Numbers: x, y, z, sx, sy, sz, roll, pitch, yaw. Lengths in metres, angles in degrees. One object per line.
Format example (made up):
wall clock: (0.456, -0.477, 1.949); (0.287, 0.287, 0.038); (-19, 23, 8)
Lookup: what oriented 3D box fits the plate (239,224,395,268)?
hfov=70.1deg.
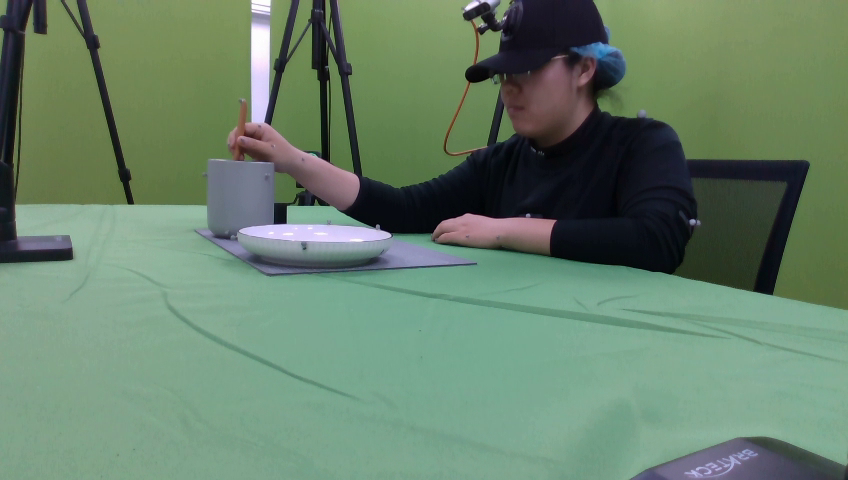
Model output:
plate: (-0.144, 0.007, 0.823); (0.208, 0.039, 0.207); (3, 7, 0)

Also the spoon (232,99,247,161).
spoon: (-0.315, -0.137, 1.002); (0.021, 0.193, 0.042); (20, 7, 30)

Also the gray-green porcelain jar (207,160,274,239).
gray-green porcelain jar: (-0.304, -0.068, 1.004); (0.106, 0.126, 0.106); (3, 7, 0)
